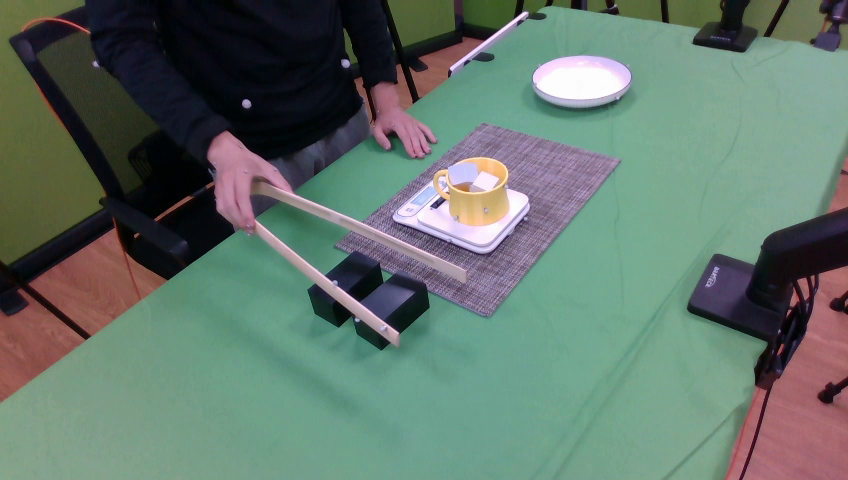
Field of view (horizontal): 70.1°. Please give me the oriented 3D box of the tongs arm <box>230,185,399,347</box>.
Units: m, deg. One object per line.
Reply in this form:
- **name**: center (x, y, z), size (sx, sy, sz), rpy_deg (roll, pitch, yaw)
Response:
- **tongs arm**: center (-0.157, 0.022, 0.827), size (0.382, 0.026, 0.051), rpy_deg (32, 53, 30)

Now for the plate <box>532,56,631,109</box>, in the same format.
- **plate**: center (0.336, -0.335, 1.301), size (0.207, 0.039, 0.206), rpy_deg (-4, 41, 4)

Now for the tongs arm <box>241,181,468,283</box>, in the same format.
- **tongs arm**: center (-0.109, -0.017, 0.871), size (0.385, 0.028, 0.028), rpy_deg (22, 52, 22)

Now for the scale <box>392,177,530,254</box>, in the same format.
- **scale**: center (0.060, -0.050, 1.006), size (0.199, 0.032, 0.149), rpy_deg (22, 48, 30)

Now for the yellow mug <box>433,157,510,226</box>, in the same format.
- **yellow mug**: center (0.072, -0.082, 0.968), size (0.130, 0.064, 0.100), rpy_deg (13, 45, 24)
